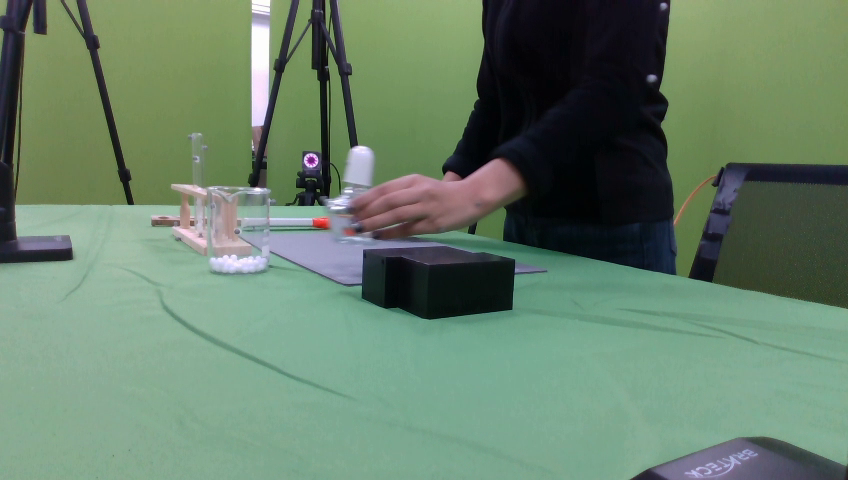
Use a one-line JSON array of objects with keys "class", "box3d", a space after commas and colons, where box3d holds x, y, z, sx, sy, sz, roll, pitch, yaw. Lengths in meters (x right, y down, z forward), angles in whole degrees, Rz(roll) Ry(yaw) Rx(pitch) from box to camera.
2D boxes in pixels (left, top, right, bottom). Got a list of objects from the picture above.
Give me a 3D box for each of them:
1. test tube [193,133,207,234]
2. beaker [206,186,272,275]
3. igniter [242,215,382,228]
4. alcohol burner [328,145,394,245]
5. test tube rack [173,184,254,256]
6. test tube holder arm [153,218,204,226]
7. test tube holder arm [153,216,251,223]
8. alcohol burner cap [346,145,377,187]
[{"class": "test tube", "box3d": [-0.335, -0.084, 0.904, 0.017, 0.150, 0.017, -1, 1, 0]}, {"class": "beaker", "box3d": [-0.220, -0.012, 0.717, 0.074, 0.100, 0.084, 2, 8, -3]}, {"class": "igniter", "box3d": [-0.213, -0.036, 1.187, 0.278, 0.025, 0.057, -2, -2, -31]}, {"class": "alcohol burner", "box3d": [-0.074, -0.054, 0.722, 0.078, 0.119, 0.078, 2, 7, 0]}, {"class": "test tube rack", "box3d": [-0.328, -0.036, 0.927, 0.067, 0.085, 0.241, -2, 9, -32]}, {"class": "test tube holder arm", "box3d": [-0.459, -0.034, 1.132, 0.088, 0.015, 0.010, -1, 43, -30]}, {"class": "test tube holder arm", "box3d": [-0.422, -0.039, 1.159, 0.179, 0.015, 0.013, -2, 43, -31]}, {"class": "alcohol burner cap", "box3d": [-0.072, -0.089, 0.718, 0.034, 0.048, 0.034, 11, 5, -1]}]
